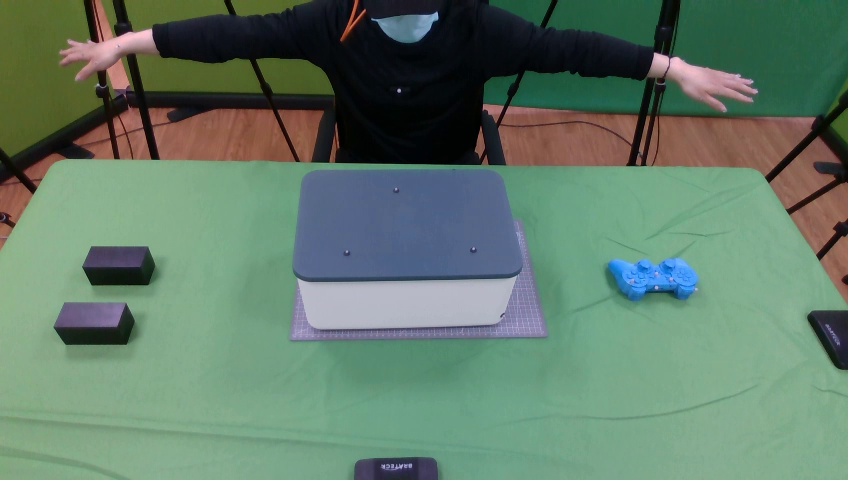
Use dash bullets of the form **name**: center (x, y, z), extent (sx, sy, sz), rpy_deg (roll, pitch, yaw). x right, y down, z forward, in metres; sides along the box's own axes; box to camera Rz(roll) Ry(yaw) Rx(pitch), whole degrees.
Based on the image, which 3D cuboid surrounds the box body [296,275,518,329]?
- **box body**: center (-0.032, 0.016, 1.075), extent (0.364, 0.161, 0.252), rpy_deg (-1, 47, -5)

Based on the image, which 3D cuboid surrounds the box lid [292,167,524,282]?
- **box lid**: center (-0.027, -0.035, 1.021), extent (0.372, 0.015, 0.261), rpy_deg (-1, 47, -5)

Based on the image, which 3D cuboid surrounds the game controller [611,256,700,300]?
- **game controller**: center (0.441, 0.062, 1.144), extent (0.155, 0.052, 0.096), rpy_deg (-1, 50, -4)
